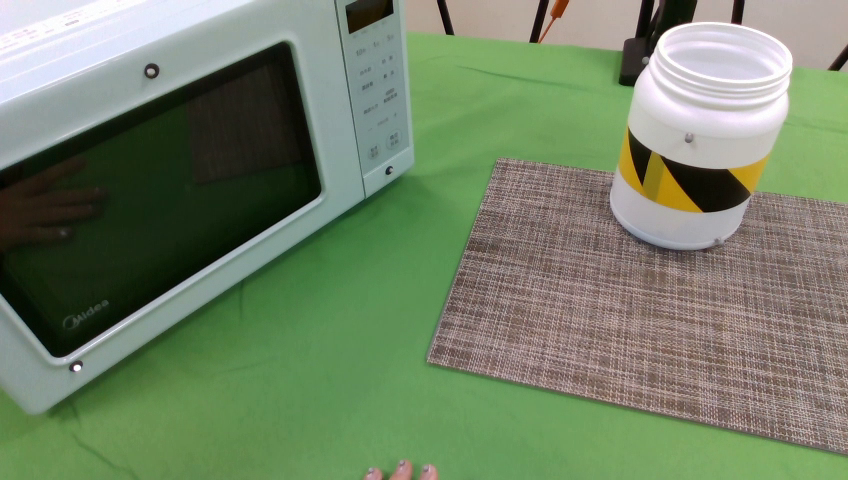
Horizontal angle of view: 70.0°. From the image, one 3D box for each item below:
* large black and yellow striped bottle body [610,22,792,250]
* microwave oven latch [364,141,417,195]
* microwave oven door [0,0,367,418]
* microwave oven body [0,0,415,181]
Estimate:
[{"bbox_3d":[0.257,-0.095,0.575,0.131,0.186,0.129,-2,45,2],"label":"large black and yellow striped bottle body"},{"bbox_3d":[-0.043,-0.083,0.668,0.079,0.030,0.030,-36,54,-28],"label":"microwave oven latch"},{"bbox_3d":[-0.202,-0.041,0.489,0.039,0.246,0.355,32,55,31],"label":"microwave oven door"},{"bbox_3d":[-0.277,-0.126,0.588,0.323,0.262,0.441,33,56,31],"label":"microwave oven body"}]
